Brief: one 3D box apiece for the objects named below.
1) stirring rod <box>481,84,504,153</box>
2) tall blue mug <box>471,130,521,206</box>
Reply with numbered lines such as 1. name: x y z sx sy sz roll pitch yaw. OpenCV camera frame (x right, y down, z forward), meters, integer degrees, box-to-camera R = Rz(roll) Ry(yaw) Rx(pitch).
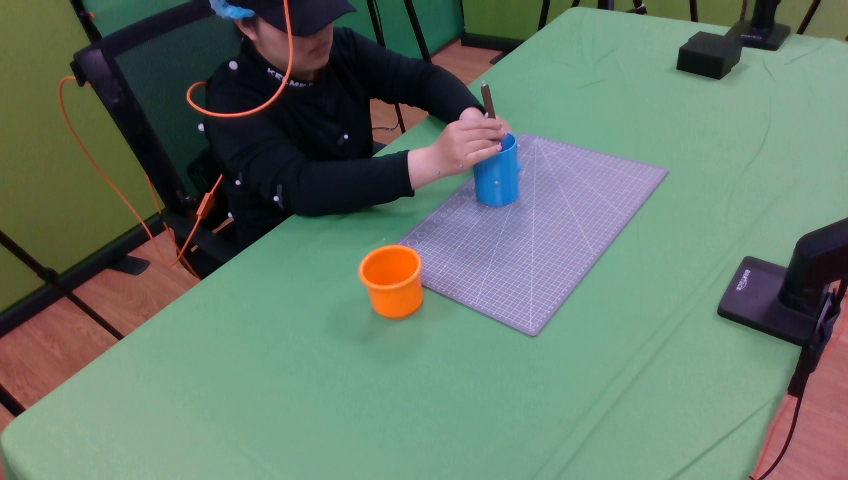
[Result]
1. stirring rod: 0.117 -0.172 0.985 0.014 0.177 0.005 -29 36 -14
2. tall blue mug: 0.119 -0.132 1.046 0.078 0.108 0.106 -19 41 -10
